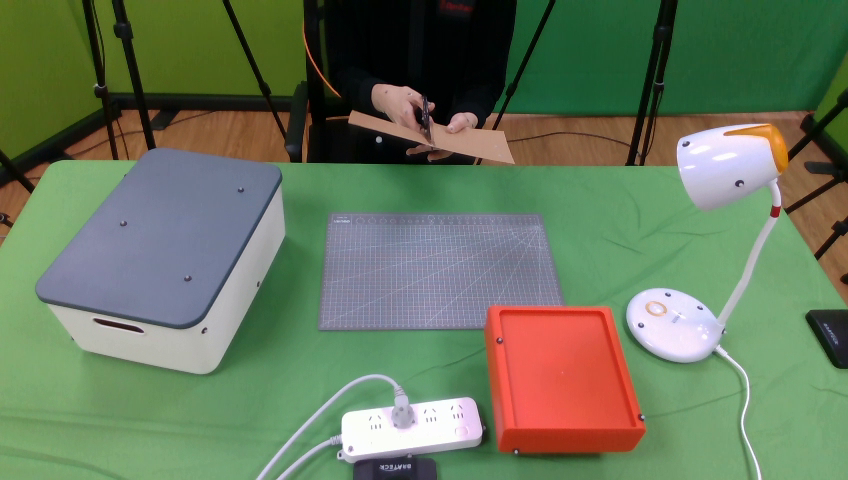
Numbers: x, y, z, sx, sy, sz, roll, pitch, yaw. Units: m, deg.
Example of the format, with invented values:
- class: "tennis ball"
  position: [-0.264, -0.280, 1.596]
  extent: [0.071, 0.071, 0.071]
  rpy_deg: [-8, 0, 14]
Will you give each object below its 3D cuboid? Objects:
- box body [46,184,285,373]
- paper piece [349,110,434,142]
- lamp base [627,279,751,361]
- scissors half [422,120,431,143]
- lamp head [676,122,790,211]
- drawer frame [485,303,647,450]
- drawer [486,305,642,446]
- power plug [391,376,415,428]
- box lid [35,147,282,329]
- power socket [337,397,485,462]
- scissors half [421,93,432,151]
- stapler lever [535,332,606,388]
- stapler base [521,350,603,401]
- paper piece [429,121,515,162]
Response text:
- class: "box body"
  position: [-0.414, 0.029, 1.039]
  extent: [0.254, 0.161, 0.362]
  rpy_deg: [10, 46, 5]
- class: "paper piece"
  position: [-0.054, -0.185, 0.983]
  extent: [0.135, 0.004, 0.135]
  rpy_deg: [13, 17, -9]
- class: "lamp base"
  position: [0.460, 0.100, 1.027]
  extent: [0.178, 0.181, 0.160]
  rpy_deg: [27, 51, 17]
- class: "scissors half"
  position: [0.006, -0.180, 1.034]
  extent: [0.013, 0.040, 0.174]
  rpy_deg: [-3, 15, -2]
- class: "lamp head"
  position: [0.423, -0.104, 0.819]
  extent: [0.122, 0.113, 0.112]
  rpy_deg: [-13, 33, 40]
- class: "drawer frame"
  position: [0.204, 0.202, 0.917]
  extent: [0.202, 0.083, 0.212]
  rpy_deg: [1, 47, -4]
- class: "drawer"
  position: [0.202, 0.200, 0.918]
  extent: [0.195, 0.073, 0.210]
  rpy_deg: [2, 47, -4]
- class: "power plug"
  position: [-0.030, 0.249, 0.917]
  extent: [0.035, 0.053, 0.072]
  rpy_deg: [3, 46, 0]
- class: "box lid"
  position: [-0.411, -0.023, 0.987]
  extent: [0.263, 0.015, 0.369]
  rpy_deg: [10, 47, 5]
- class: "power socket"
  position: [-0.018, 0.285, 0.915]
  extent: [0.227, 0.033, 0.071]
  rpy_deg: [-4, 46, -8]
- class: "scissors half"
  position: [0.005, -0.200, 1.023]
  extent: [0.013, 0.040, 0.174]
  rpy_deg: [-7, 44, 0]
- class: "stapler lever"
  position: [0.225, 0.182, 0.929]
  extent: [0.118, 0.040, 0.027]
  rpy_deg: [27, 34, 15]
- class: "stapler base"
  position: [0.217, 0.203, 0.942]
  extent: [0.130, 0.024, 0.041]
  rpy_deg: [26, 34, 16]
- class: "paper piece"
  position: [0.076, -0.164, 1.000]
  extent: [0.136, 0.009, 0.137]
  rpy_deg: [12, 27, -8]
